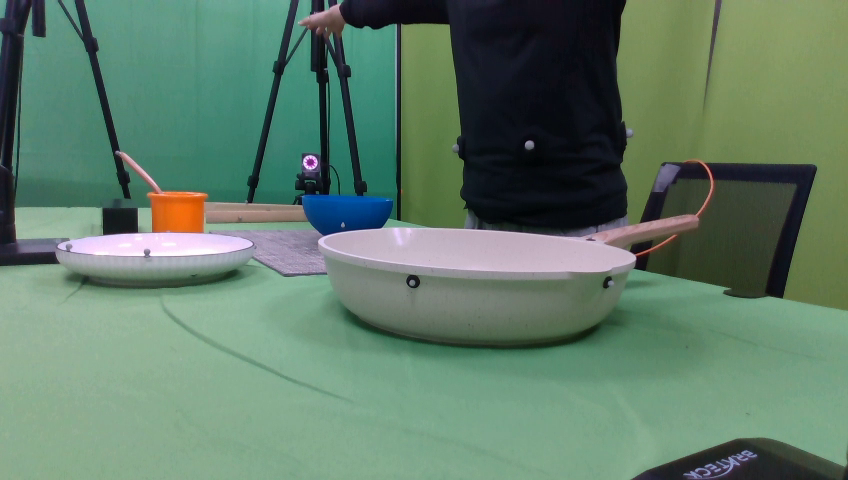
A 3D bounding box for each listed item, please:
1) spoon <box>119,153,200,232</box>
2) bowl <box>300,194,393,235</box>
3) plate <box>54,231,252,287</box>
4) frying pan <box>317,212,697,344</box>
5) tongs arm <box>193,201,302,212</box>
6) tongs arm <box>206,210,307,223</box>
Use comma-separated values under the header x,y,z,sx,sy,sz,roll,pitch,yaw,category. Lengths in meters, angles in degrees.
x,y,z,sx,sy,sz,roll,pitch,yaw,category
-0.439,-0.077,1.000,0.021,0.193,0.042,-43,-7,21,spoon
-0.128,-0.034,0.996,0.151,0.077,0.151,2,7,0,bowl
-0.309,0.020,0.705,0.208,0.039,0.207,2,7,0,plate
0.133,0.013,0.629,0.490,0.102,0.305,-12,14,-31,frying pan
-0.338,-0.072,1.429,0.387,0.026,0.050,0,9,-26,tongs arm
-0.297,-0.057,1.361,0.390,0.028,0.028,-4,8,-39,tongs arm
